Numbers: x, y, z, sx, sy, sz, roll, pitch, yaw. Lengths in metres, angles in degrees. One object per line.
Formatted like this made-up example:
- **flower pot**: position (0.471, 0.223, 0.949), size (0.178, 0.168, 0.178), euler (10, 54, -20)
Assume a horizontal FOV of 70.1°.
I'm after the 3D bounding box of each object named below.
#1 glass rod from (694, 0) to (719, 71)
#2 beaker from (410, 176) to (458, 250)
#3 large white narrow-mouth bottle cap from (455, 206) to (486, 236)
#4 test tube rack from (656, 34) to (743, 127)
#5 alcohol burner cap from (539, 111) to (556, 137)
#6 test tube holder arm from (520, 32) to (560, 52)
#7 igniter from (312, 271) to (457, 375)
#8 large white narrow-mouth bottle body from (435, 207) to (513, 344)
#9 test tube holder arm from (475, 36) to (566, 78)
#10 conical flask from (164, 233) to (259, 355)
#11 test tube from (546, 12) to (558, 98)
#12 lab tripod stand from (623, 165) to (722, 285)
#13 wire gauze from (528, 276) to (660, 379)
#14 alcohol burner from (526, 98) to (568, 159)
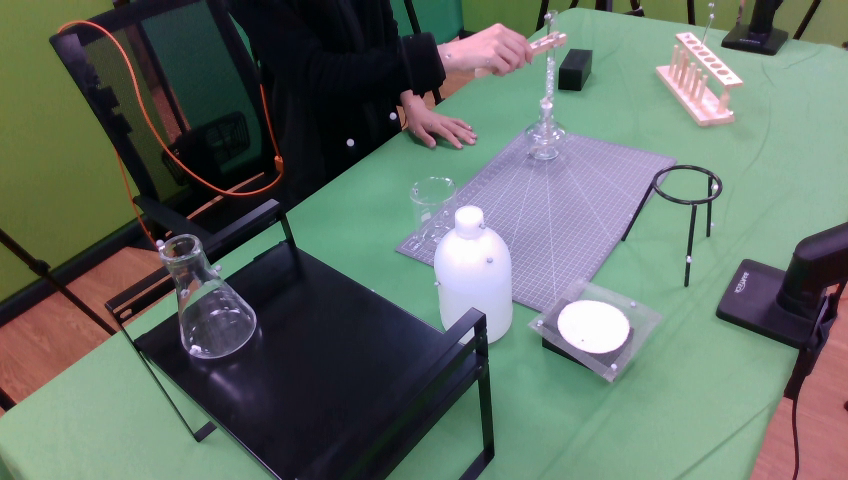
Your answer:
- **glass rod**: position (0.560, -0.401, 1.214), size (0.008, 0.200, 0.008), euler (-1, 49, 2)
- **beaker**: position (0.022, -0.041, 0.964), size (0.073, 0.101, 0.084), euler (28, 51, 35)
- **large white narrow-mouth bottle cap**: position (0.057, -0.023, 0.734), size (0.038, 0.024, 0.037), euler (-4, 40, 4)
- **test tube rack**: position (0.553, -0.330, 1.233), size (0.067, 0.085, 0.241), euler (-7, 40, 2)
- **alcohol burner cap**: position (0.243, -0.232, 1.196), size (0.034, 0.048, 0.033), euler (-5, 38, 4)
- **test tube holder arm**: position (0.190, -0.319, 0.992), size (0.088, 0.015, 0.010), euler (-33, 50, -26)
- **igniter**: position (-0.068, 0.111, 0.859), size (0.274, 0.025, 0.057), euler (27, 61, 34)
- **large white narrow-mouth bottle body**: position (0.065, 0.041, 0.791), size (0.102, 0.195, 0.101), euler (-4, 41, 4)
- **test tube holder arm**: position (0.157, -0.295, 0.971), size (0.179, 0.015, 0.013), euler (-27, 47, -21)
- **conical flask**: position (-0.216, 0.051, 0.601), size (0.075, 0.122, 0.075), euler (-4, 40, 4)
- **test tube**: position (0.214, -0.307, 1.016), size (0.017, 0.151, 0.017), euler (-4, 43, 5)
- **lab tripod stand**: position (0.365, -0.030, 0.875), size (0.148, 0.132, 0.147), euler (-6, 41, 6)
- **wire gauze**: position (0.214, 0.103, 0.763), size (0.124, 0.011, 0.122), euler (30, 52, 35)
- **alcohol burner**: position (0.228, -0.210, 1.118), size (0.078, 0.119, 0.077), euler (-5, 43, 5)
